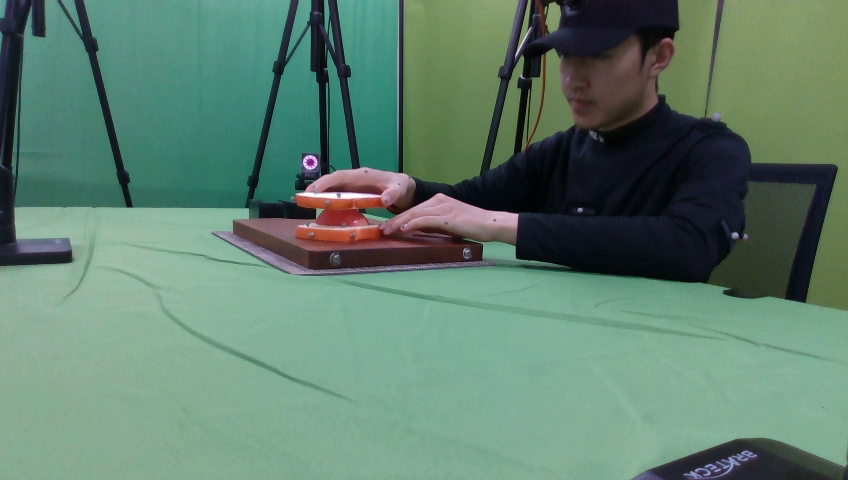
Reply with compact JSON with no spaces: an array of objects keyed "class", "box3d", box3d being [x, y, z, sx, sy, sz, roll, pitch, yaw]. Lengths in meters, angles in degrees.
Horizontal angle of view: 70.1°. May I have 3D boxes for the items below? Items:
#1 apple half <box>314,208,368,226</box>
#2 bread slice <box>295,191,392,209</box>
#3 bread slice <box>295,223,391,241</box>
[{"class":"apple half","box3d":[-0.120,-0.037,0.901,0.081,0.033,0.081,4,5,0]},{"class":"bread slice","box3d":[-0.121,-0.060,0.887,0.106,0.018,0.135,4,9,22]},{"class":"bread slice","box3d":[-0.122,-0.014,0.889,0.104,0.019,0.132,4,7,23]}]
